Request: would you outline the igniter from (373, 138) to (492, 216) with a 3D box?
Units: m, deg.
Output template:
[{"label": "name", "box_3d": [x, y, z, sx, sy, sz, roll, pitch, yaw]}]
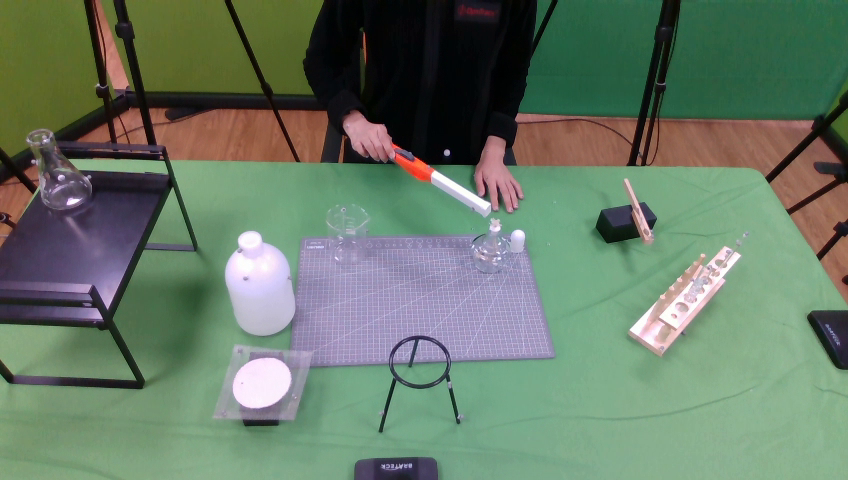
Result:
[{"label": "igniter", "box_3d": [0.010, -0.123, 1.131, 0.275, 0.057, 0.025, 33, 67, 22]}]

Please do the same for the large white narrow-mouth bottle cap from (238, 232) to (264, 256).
[{"label": "large white narrow-mouth bottle cap", "box_3d": [-0.266, 0.006, 0.933, 0.038, 0.024, 0.037, 2, 46, -2]}]

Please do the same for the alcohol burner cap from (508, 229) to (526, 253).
[{"label": "alcohol burner cap", "box_3d": [0.185, -0.002, 1.192, 0.034, 0.048, 0.033, 3, 45, -3]}]

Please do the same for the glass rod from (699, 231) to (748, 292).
[{"label": "glass rod", "box_3d": [0.514, 0.044, 1.051, 0.008, 0.200, 0.008, 1, 55, -1]}]

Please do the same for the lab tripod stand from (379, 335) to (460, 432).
[{"label": "lab tripod stand", "box_3d": [-0.010, 0.214, 0.911, 0.148, 0.132, 0.147, 1, 45, 0]}]

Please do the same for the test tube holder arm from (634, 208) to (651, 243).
[{"label": "test tube holder arm", "box_3d": [0.428, -0.030, 1.189, 0.010, 0.015, 0.087, 1, 47, -2]}]

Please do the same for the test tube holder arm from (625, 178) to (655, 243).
[{"label": "test tube holder arm", "box_3d": [0.433, -0.063, 1.220, 0.013, 0.015, 0.177, 1, 47, -3]}]

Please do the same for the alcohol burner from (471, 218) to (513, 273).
[{"label": "alcohol burner", "box_3d": [0.128, 0.005, 1.132, 0.078, 0.120, 0.077, 0, 47, 0]}]

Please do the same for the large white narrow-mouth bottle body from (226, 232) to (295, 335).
[{"label": "large white narrow-mouth bottle body", "box_3d": [-0.270, 0.065, 0.995, 0.102, 0.195, 0.101, 2, 46, -2]}]

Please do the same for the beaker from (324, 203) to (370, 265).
[{"label": "beaker", "box_3d": [-0.142, -0.009, 1.137, 0.084, 0.101, 0.073, -3, 47, -7]}]

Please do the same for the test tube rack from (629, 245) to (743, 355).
[{"label": "test tube rack", "box_3d": [0.474, 0.095, 1.091, 0.242, 0.085, 0.066, -34, 56, -31]}]

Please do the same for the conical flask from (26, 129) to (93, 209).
[{"label": "conical flask", "box_3d": [-0.575, -0.113, 0.946, 0.075, 0.122, 0.075, 2, 46, -2]}]

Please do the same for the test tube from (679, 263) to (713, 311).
[{"label": "test tube", "box_3d": [0.453, 0.092, 1.023, 0.017, 0.151, 0.017, 1, 49, -1]}]

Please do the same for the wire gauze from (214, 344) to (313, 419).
[{"label": "wire gauze", "box_3d": [-0.241, 0.213, 0.915, 0.121, 0.011, 0.124, 5, 46, 1]}]
